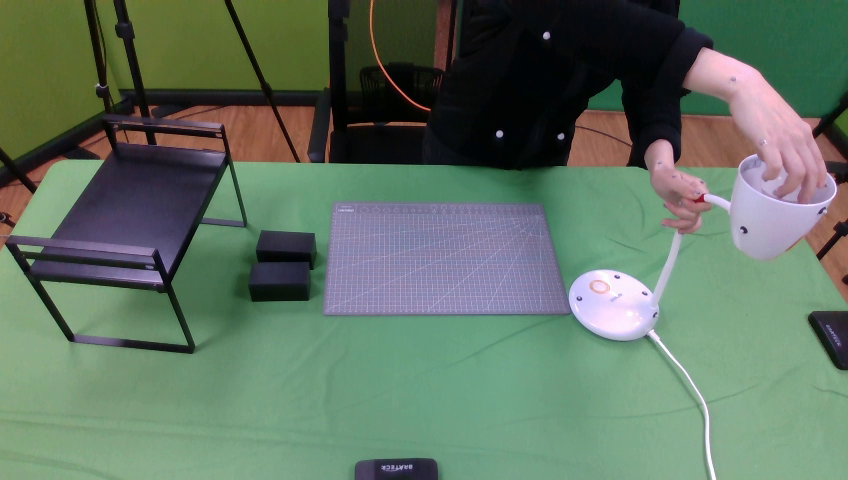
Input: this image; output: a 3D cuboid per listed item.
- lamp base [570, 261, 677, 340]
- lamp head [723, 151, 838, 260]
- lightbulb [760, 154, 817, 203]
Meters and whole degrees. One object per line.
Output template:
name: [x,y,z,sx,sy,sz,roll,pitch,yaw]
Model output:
lamp base: [0.359,0.068,1.046,0.178,0.181,0.160,37,55,25]
lamp head: [0.439,-0.038,0.773,0.112,0.123,0.111,1,46,0]
lightbulb: [0.444,-0.055,0.754,0.059,0.108,0.059,0,37,0]
